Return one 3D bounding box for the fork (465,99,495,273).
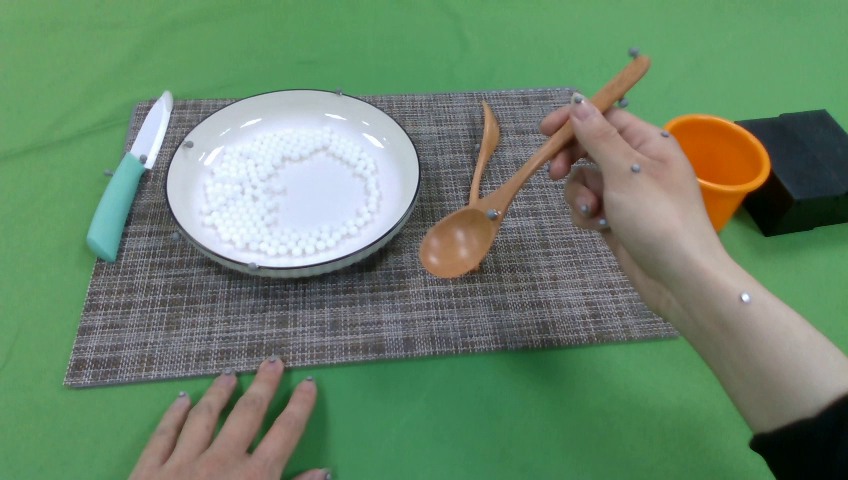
[{"bbox_3d":[0.048,-0.056,0.546,0.018,0.028,0.205,-10,49,27],"label":"fork"}]

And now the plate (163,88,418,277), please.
[{"bbox_3d":[-0.109,-0.051,0.517,0.209,0.038,0.207,2,52,-3],"label":"plate"}]

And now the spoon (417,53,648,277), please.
[{"bbox_3d":[0.070,-0.047,0.388,0.194,0.022,0.041,-45,65,11],"label":"spoon"}]

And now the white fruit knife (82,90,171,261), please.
[{"bbox_3d":[-0.257,-0.068,0.534,0.027,0.016,0.205,22,46,-24],"label":"white fruit knife"}]
